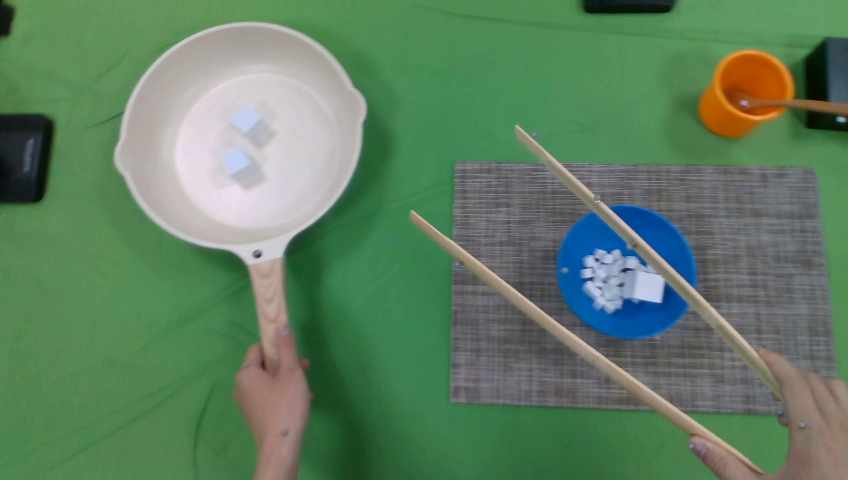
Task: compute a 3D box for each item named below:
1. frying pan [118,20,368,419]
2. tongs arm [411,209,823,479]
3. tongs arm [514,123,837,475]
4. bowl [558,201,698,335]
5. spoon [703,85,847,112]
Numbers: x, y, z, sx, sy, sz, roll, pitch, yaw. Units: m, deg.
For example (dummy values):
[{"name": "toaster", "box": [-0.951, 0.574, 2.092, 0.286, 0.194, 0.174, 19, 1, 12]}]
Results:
[{"name": "frying pan", "box": [-0.196, -0.032, 0.721, 0.307, 0.103, 0.484, -12, 70, 1]}, {"name": "tongs arm", "box": [0.133, 0.077, 0.511, 0.384, 0.028, 0.028, 36, 70, 24]}, {"name": "tongs arm", "box": [0.189, 0.029, 0.524, 0.051, 0.027, 0.381, -37, 64, -10]}, {"name": "bowl", "box": [0.225, 0.037, 0.700, 0.151, 0.077, 0.150, 0, 78, 2]}, {"name": "spoon", "box": [0.416, -0.160, 0.701, 0.041, 0.192, 0.022, -52, 124, -10]}]
